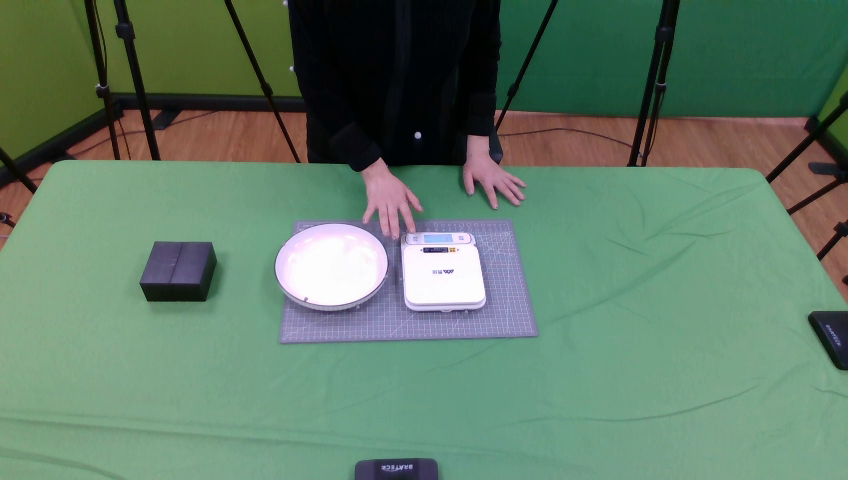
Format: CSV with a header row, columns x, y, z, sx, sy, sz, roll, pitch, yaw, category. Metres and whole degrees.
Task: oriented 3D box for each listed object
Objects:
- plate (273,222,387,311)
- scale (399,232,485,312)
x,y,z,sx,sy,sz,roll,pitch,yaw,category
-0.172,0.051,1.120,0.209,0.038,0.208,2,46,-2,plate
0.031,0.050,1.141,0.149,0.032,0.199,-1,46,-6,scale
